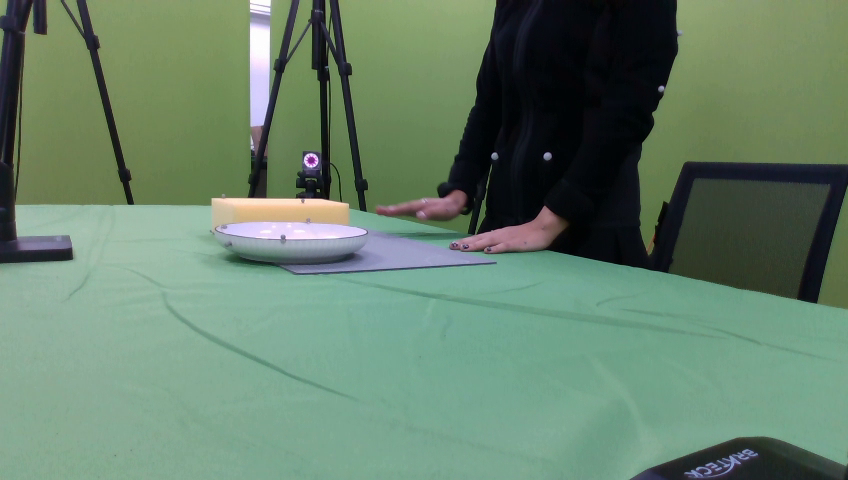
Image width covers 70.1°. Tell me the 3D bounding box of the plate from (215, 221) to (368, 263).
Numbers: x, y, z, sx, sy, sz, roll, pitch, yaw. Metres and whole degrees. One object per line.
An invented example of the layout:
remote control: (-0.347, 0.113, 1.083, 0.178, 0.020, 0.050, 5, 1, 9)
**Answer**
plate: (-0.182, 0.002, 0.846, 0.209, 0.038, 0.209, 2, 7, 0)

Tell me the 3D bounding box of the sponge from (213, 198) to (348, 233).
sponge: (-0.251, -0.039, 1.059, 0.208, 0.061, 0.117, -3, 9, -36)
